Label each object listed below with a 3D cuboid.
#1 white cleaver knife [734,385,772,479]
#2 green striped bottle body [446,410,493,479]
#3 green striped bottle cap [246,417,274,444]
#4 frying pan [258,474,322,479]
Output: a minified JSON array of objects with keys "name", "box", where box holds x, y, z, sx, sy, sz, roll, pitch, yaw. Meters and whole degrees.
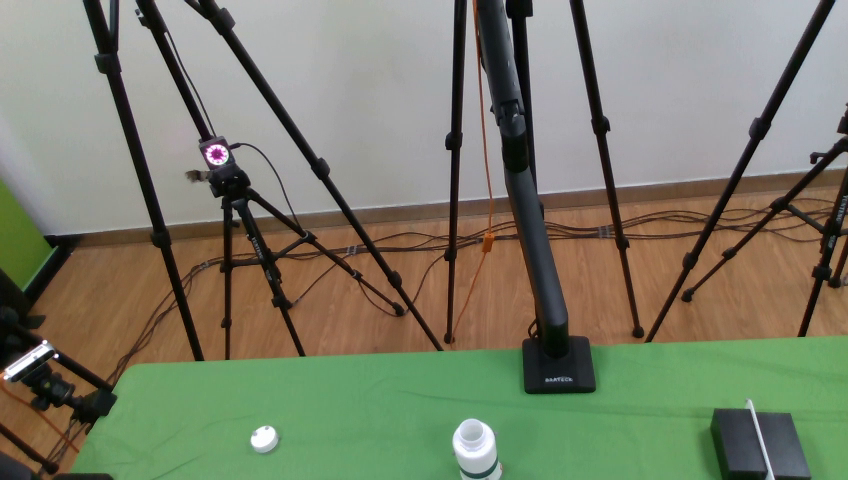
[{"name":"white cleaver knife","box":[0.468,0.328,0.835,0.021,0.066,0.284,-6,39,17]},{"name":"green striped bottle body","box":[0.069,0.306,0.917,0.063,0.120,0.062,-7,42,6]},{"name":"green striped bottle cap","box":[-0.285,0.331,1.053,0.044,0.020,0.044,-7,41,7]},{"name":"frying pan","box":[-0.213,0.531,0.748,0.306,0.103,0.483,-7,33,8]}]
